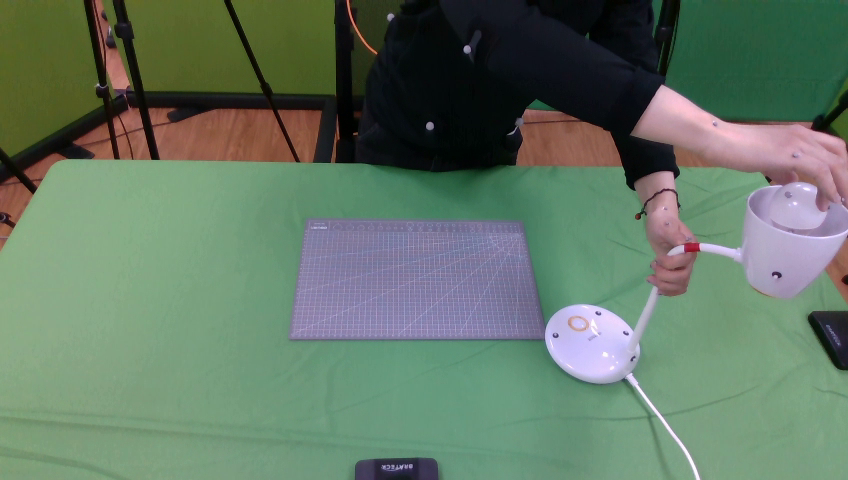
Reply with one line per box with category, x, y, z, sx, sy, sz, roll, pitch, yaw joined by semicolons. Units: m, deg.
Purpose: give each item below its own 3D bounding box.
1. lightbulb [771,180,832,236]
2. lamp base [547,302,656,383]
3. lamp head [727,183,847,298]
lightbulb;0.433;-0.019;0.707;0.059;0.108;0.059;-4;33;3
lamp base;0.304;0.128;0.982;0.160;0.181;0.178;-33;59;-29
lamp head;0.430;0.008;0.726;0.112;0.123;0.111;1;40;-1
